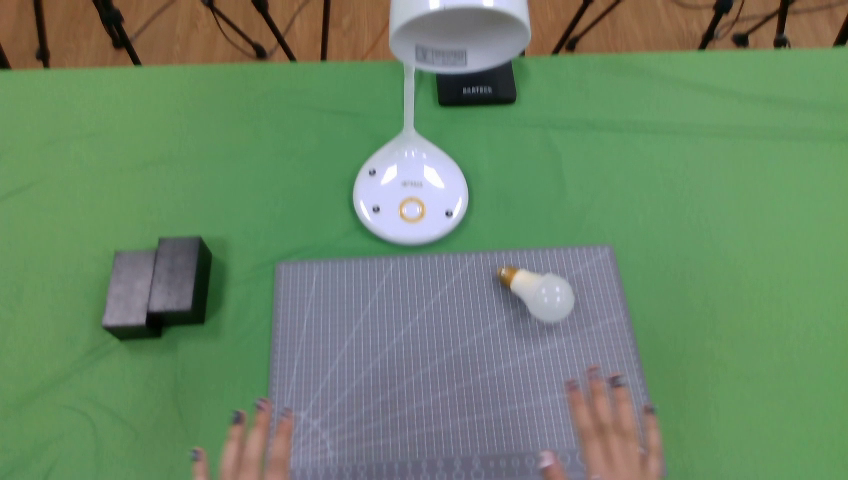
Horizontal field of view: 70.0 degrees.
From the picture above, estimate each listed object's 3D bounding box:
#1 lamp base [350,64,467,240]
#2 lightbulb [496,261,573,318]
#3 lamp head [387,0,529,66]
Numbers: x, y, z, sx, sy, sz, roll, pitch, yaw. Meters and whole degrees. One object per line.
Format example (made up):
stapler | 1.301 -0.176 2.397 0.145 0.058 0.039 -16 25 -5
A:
lamp base | -0.022 -0.118 0.774 0.161 0.181 0.177 -8 60 -6
lightbulb | 0.136 0.057 0.760 0.106 0.060 0.059 30 64 30
lamp head | 0.023 -0.213 0.482 0.112 0.113 0.122 -3 77 -4
